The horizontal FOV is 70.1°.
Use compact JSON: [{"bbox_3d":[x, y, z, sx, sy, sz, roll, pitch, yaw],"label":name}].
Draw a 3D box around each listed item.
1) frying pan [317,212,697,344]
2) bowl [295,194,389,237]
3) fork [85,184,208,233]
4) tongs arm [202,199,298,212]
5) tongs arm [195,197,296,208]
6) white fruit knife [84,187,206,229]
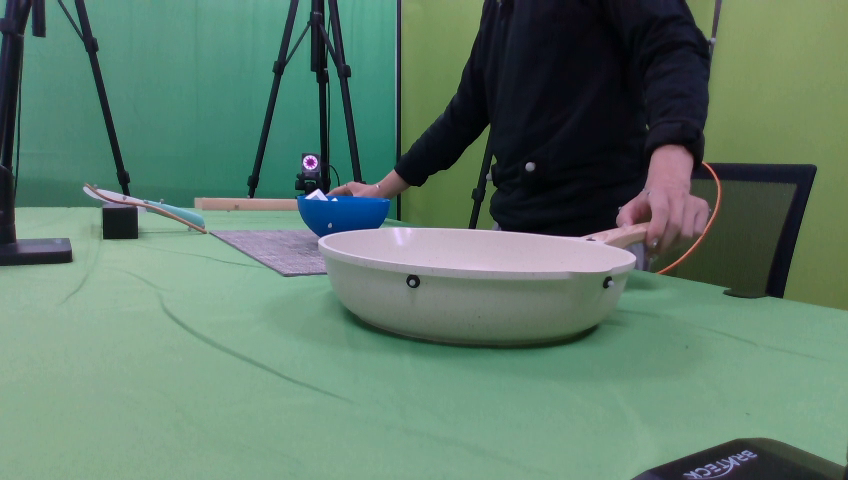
[{"bbox_3d":[0.133,0.013,0.629,0.490,0.102,0.305,-12,14,-31],"label":"frying pan"},{"bbox_3d":[-0.132,-0.032,0.980,0.151,0.077,0.151,2,7,0],"label":"bowl"},{"bbox_3d":[-0.462,-0.051,1.019,0.208,0.018,0.028,22,-11,-37],"label":"fork"},{"bbox_3d":[-0.298,-0.078,1.357,0.390,0.027,0.028,-3,1,-34],"label":"tongs arm"},{"bbox_3d":[-0.332,-0.085,1.425,0.387,0.026,0.050,-1,4,-23],"label":"tongs arm"},{"bbox_3d":[-0.488,-0.059,1.071,0.208,0.027,0.016,17,4,-33],"label":"white fruit knife"}]
